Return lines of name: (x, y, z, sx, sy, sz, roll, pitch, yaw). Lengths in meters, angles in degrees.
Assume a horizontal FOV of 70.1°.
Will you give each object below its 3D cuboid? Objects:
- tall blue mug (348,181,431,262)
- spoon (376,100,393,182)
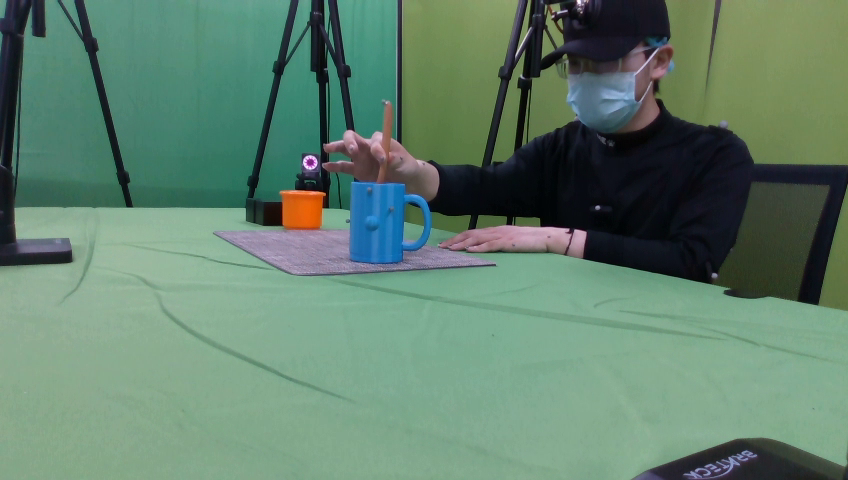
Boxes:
tall blue mug: (-0.052, -0.028, 0.849, 0.108, 0.108, 0.077, -1, 7, -22)
spoon: (-0.061, -0.102, 0.857, 0.042, 0.193, 0.021, 8, 4, -34)
